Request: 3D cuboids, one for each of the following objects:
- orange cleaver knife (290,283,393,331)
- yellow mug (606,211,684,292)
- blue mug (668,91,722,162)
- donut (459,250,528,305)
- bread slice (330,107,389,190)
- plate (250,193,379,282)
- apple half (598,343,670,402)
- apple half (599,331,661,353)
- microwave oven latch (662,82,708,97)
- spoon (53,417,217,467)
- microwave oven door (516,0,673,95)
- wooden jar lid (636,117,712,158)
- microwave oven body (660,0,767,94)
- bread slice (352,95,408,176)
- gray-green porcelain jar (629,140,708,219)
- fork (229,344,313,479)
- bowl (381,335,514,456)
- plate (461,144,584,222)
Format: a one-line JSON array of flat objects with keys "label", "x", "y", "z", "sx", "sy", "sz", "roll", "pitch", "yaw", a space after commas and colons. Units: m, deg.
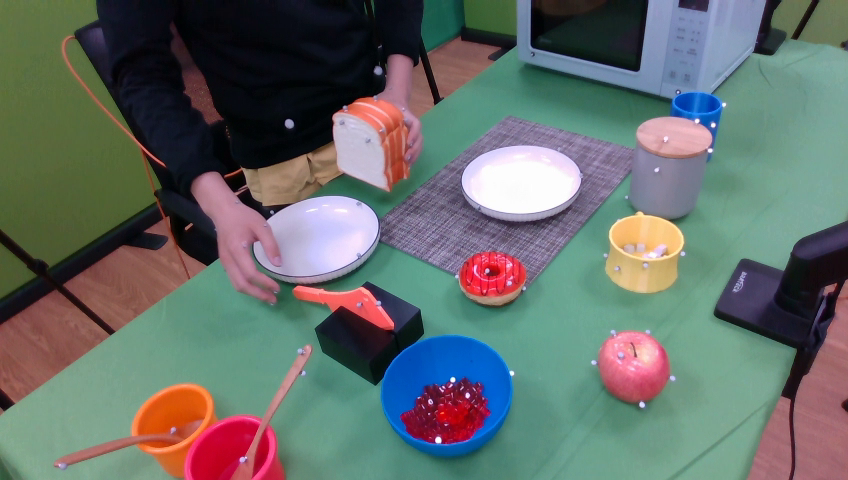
[{"label": "orange cleaver knife", "x": -0.118, "y": 0.091, "z": 0.835, "sx": 0.209, "sy": 0.077, "sz": 0.012, "roll": 1, "pitch": 35, "yaw": 48}, {"label": "yellow mug", "x": 0.318, "y": 0.008, "z": 0.883, "sx": 0.100, "sy": 0.064, "sz": 0.130, "roll": 0, "pitch": 40, "yaw": 9}, {"label": "blue mug", "x": 0.474, "y": -0.207, "z": 1.079, "sx": 0.082, "sy": 0.106, "sz": 0.116, "roll": 4, "pitch": 42, "yaw": 13}, {"label": "donut", "x": 0.100, "y": 0.053, "z": 0.872, "sx": 0.099, "sy": 0.048, "sz": 0.098, "roll": -5, "pitch": 41, "yaw": 4}, {"label": "bread slice", "x": -0.106, "y": -0.149, "z": 0.968, "sx": 0.106, "sy": 0.135, "sz": 0.018, "roll": 21, "pitch": 51, "yaw": 22}, {"label": "plate", "x": -0.174, "y": -0.001, "z": 0.984, "sx": 0.209, "sy": 0.038, "sz": 0.208, "roll": -3, "pitch": 40, "yaw": 3}, {"label": "apple half", "x": 0.247, "y": 0.161, "z": 0.710, "sx": 0.081, "sy": 0.075, "sz": 0.053, "roll": 2, "pitch": 47, "yaw": 5}, {"label": "apple half", "x": 0.249, "y": 0.134, "z": 0.738, "sx": 0.081, "sy": 0.081, "sz": 0.032, "roll": -1, "pitch": 46, "yaw": 7}, {"label": "microwave oven latch", "x": 0.518, "y": -0.298, "z": 1.203, "sx": 0.078, "sy": 0.029, "sz": 0.030, "roll": 28, "pitch": 53, "yaw": 35}, {"label": "spoon", "x": -0.308, "y": 0.219, "z": 0.663, "sx": 0.041, "sy": 0.195, "sz": 0.021, "roll": 24, "pitch": 94, "yaw": 29}, {"label": "microwave oven door", "x": 0.344, "y": -0.458, "z": 1.256, "sx": 0.353, "sy": 0.245, "sz": 0.039, "roll": 26, "pitch": 51, "yaw": 33}, {"label": "wooden jar lid", "x": 0.377, "y": -0.151, "z": 0.917, "sx": 0.108, "sy": 0.021, "sz": 0.108, "roll": -2, "pitch": 42, "yaw": 2}, {"label": "microwave oven body", "x": 0.473, "y": -0.517, "z": 1.313, "sx": 0.438, "sy": 0.261, "sz": 0.327, "roll": 26, "pitch": 51, "yaw": 34}, {"label": "bread slice", "x": -0.073, "y": -0.175, "z": 1.002, "sx": 0.104, "sy": 0.132, "sz": 0.019, "roll": 21, "pitch": 46, "yaw": 21}, {"label": "gray-green porcelain jar", "x": 0.383, "y": -0.105, "z": 0.958, "sx": 0.106, "sy": 0.127, "sz": 0.105, "roll": -4, "pitch": 41, "yaw": 4}, {"label": "fork", "x": -0.173, "y": 0.205, "z": 0.662, "sx": 0.028, "sy": 0.019, "sz": 0.207, "roll": 29, "pitch": 94, "yaw": 36}, {"label": "bowl", "x": 0.029, "y": 0.192, "z": 0.701, "sx": 0.151, "sy": 0.077, "sz": 0.150, "roll": -4, "pitch": 40, "yaw": 4}, {"label": "plate", "x": 0.168, "y": -0.095, "z": 1.040, "sx": 0.207, "sy": 0.039, "sz": 0.206, "roll": -4, "pitch": 40, "yaw": 4}]
